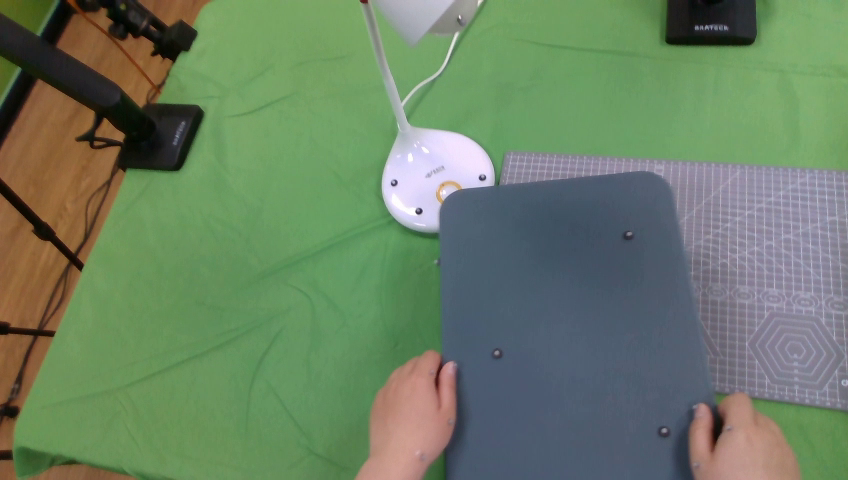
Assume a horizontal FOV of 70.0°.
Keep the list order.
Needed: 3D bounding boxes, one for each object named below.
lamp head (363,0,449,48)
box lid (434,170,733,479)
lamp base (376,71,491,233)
[{"bbox_3d":[-0.022,-0.240,0.504,0.123,0.112,0.112,39,76,-9],"label":"lamp head"},{"bbox_3d":[0.146,0.096,0.626,0.263,0.015,0.368,-6,65,7],"label":"box lid"},{"bbox_3d":[-0.011,-0.123,0.780,0.160,0.182,0.177,-40,61,-8],"label":"lamp base"}]
